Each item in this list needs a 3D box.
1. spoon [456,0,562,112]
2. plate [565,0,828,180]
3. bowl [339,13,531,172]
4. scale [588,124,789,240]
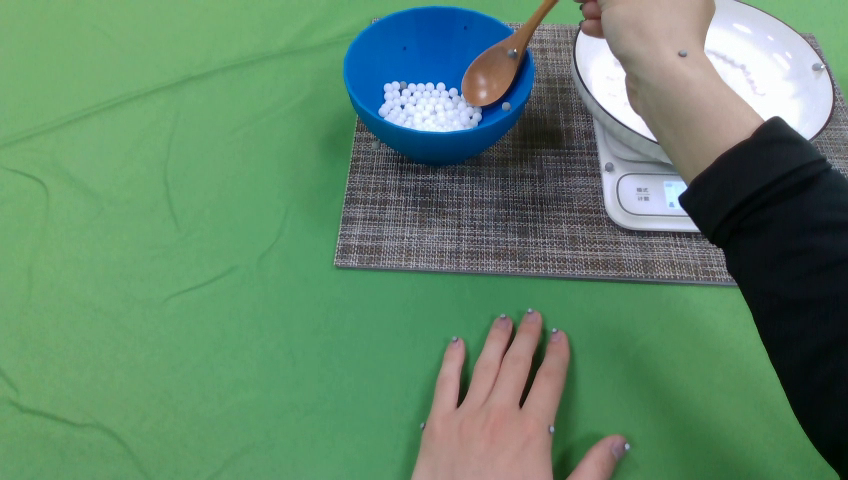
[{"bbox_3d":[0.087,-0.166,0.452,0.022,0.194,0.041,-13,69,-43],"label":"spoon"},{"bbox_3d":[0.219,-0.127,0.505,0.209,0.038,0.207,1,56,-1],"label":"plate"},{"bbox_3d":[0.008,-0.110,0.504,0.151,0.077,0.150,0,55,0],"label":"bowl"},{"bbox_3d":[0.217,-0.089,0.520,0.149,0.032,0.199,2,56,1],"label":"scale"}]
